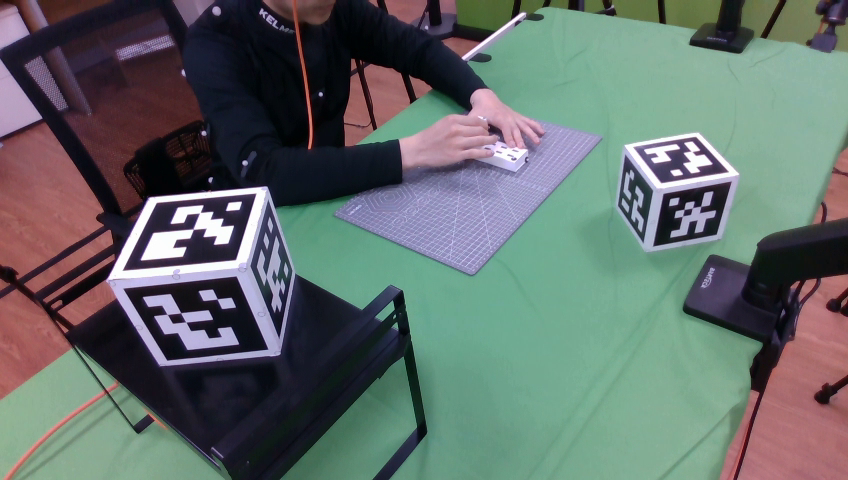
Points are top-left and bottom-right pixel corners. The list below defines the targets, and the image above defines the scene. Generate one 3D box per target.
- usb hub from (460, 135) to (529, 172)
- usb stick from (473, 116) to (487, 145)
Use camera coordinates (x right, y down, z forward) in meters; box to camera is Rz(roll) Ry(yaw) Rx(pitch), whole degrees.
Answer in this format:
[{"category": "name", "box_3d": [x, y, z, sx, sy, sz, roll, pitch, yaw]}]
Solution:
[{"category": "usb hub", "box_3d": [0.132, -0.164, 1.137, 0.124, 0.025, 0.049, 22, 48, 30]}, {"category": "usb stick", "box_3d": [0.106, -0.209, 1.128, 0.021, 0.059, 0.027, 7, 46, 4]}]
